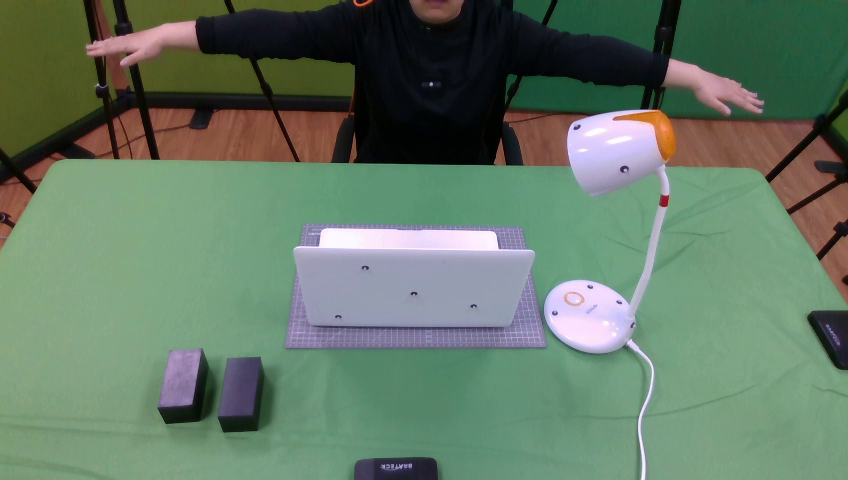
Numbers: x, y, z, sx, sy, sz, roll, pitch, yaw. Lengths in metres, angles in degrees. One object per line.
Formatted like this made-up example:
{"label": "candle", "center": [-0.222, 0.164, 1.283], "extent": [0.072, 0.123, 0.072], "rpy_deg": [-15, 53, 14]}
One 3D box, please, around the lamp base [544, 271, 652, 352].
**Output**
{"label": "lamp base", "center": [0.310, 0.086, 1.029], "extent": [0.178, 0.181, 0.160], "rpy_deg": [32, 52, 21]}

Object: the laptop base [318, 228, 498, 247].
{"label": "laptop base", "center": [-0.028, 0.066, 1.134], "extent": [0.355, 0.023, 0.234], "rpy_deg": [1, 43, -4]}

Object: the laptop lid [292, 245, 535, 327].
{"label": "laptop lid", "center": [-0.018, 0.080, 0.956], "extent": [0.357, 0.243, 0.013], "rpy_deg": [2, 54, -5]}

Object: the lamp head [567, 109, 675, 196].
{"label": "lamp head", "center": [0.272, -0.123, 0.818], "extent": [0.122, 0.113, 0.112], "rpy_deg": [-9, 35, 37]}
